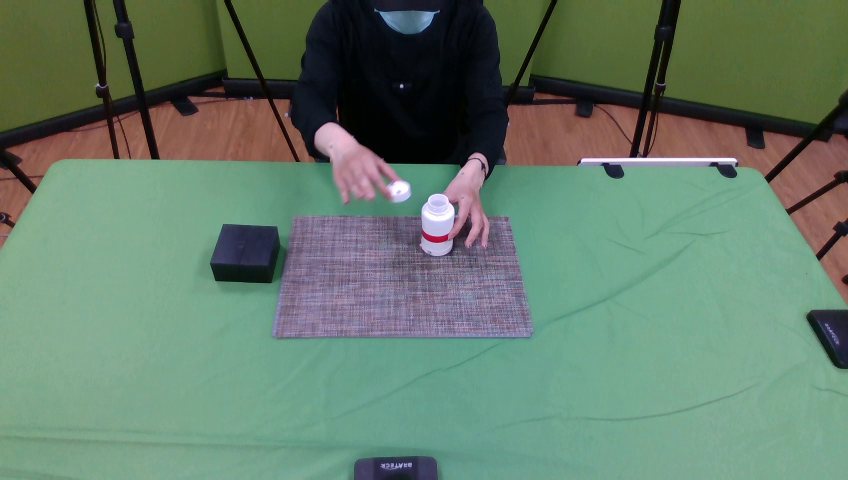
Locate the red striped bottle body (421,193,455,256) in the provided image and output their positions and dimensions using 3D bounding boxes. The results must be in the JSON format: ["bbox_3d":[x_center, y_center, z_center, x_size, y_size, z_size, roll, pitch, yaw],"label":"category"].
[{"bbox_3d":[0.026,-0.032,1.152,0.063,0.120,0.062,0,45,0],"label":"red striped bottle body"}]

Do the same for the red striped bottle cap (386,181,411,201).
[{"bbox_3d":[-0.046,-0.088,1.079,0.044,0.018,0.044,-7,37,5],"label":"red striped bottle cap"}]
